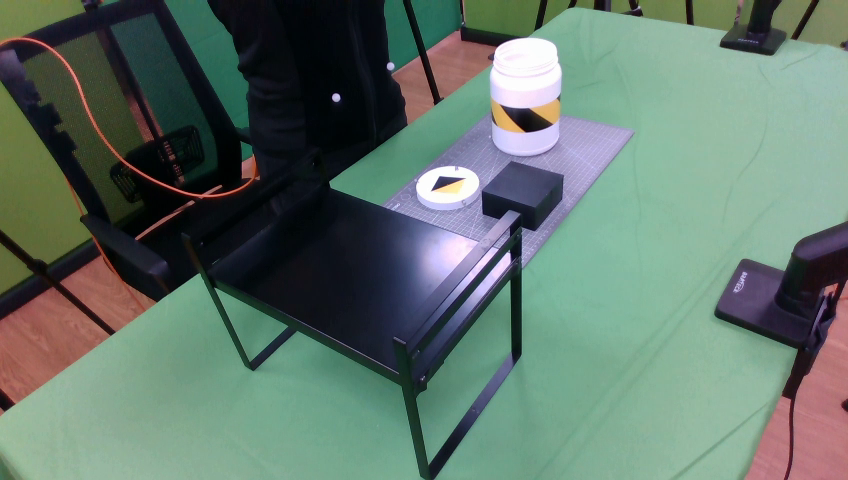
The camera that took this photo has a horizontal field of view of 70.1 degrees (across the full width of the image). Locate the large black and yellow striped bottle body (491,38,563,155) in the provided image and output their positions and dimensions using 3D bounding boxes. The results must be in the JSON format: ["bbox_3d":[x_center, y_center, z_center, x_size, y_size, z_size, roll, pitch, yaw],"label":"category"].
[{"bbox_3d":[0.192,-0.268,1.130,0.131,0.185,0.130,-5,41,4],"label":"large black and yellow striped bottle body"}]

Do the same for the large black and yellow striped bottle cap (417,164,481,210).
[{"bbox_3d":[0.045,-0.097,1.084,0.115,0.019,0.114,-4,42,4],"label":"large black and yellow striped bottle cap"}]
